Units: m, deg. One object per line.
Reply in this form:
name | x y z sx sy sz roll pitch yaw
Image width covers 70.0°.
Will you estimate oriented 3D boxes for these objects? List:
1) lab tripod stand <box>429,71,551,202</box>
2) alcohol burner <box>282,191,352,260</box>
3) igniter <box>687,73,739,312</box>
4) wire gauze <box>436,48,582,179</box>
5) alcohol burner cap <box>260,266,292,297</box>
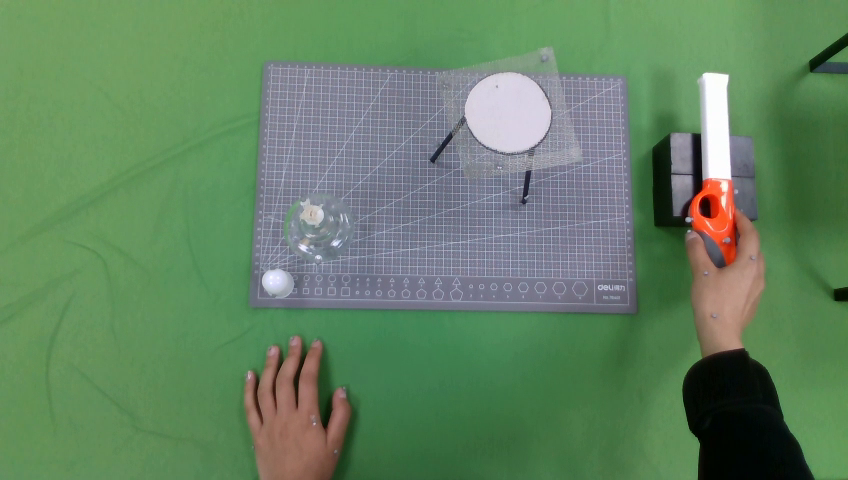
lab tripod stand | 0.081 -0.120 0.671 0.148 0.132 0.147 1 78 -2
alcohol burner | -0.116 -0.019 0.650 0.078 0.119 0.077 1 81 -5
igniter | 0.326 -0.056 0.684 0.057 0.025 0.275 4 80 -3
wire gauze | 0.085 -0.126 0.605 0.125 0.011 0.121 -12 81 -6
alcohol burner cap | -0.166 0.044 0.672 0.034 0.048 0.033 1 79 -4
